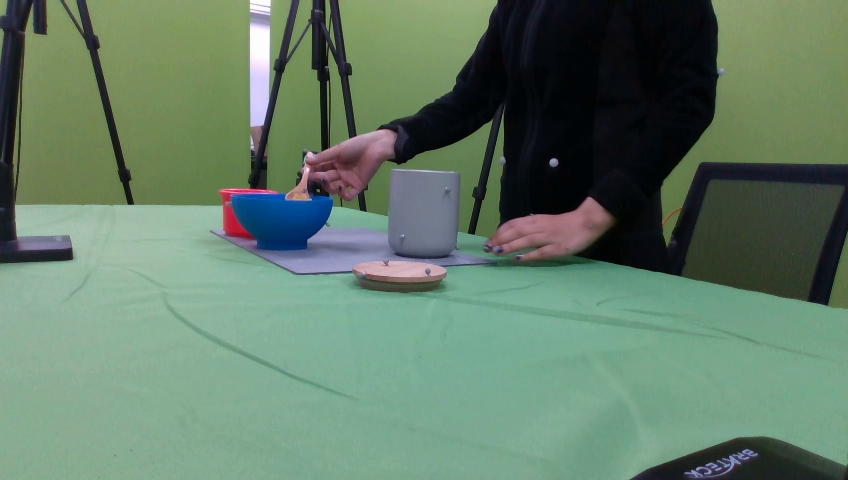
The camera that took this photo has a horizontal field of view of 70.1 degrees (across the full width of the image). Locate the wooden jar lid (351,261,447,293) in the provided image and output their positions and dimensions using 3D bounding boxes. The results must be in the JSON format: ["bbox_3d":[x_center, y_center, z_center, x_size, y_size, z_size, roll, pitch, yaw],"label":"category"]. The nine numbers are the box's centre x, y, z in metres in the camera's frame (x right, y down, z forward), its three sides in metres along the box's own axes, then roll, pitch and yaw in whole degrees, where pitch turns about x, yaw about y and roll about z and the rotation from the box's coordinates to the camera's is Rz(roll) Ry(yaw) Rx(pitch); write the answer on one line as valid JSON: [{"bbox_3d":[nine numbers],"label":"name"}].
[{"bbox_3d":[-0.028,0.042,0.687,0.108,0.020,0.108,3,8,0],"label":"wooden jar lid"}]

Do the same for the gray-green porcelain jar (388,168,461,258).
[{"bbox_3d":[0.000,-0.041,0.897,0.106,0.126,0.106,2,7,0],"label":"gray-green porcelain jar"}]

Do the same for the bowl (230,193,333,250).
[{"bbox_3d":[-0.214,-0.028,0.912,0.151,0.077,0.151,2,8,0],"label":"bowl"}]

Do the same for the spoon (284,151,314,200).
[{"bbox_3d":[-0.193,-0.101,0.978,0.042,0.021,0.193,18,35,-13],"label":"spoon"}]
